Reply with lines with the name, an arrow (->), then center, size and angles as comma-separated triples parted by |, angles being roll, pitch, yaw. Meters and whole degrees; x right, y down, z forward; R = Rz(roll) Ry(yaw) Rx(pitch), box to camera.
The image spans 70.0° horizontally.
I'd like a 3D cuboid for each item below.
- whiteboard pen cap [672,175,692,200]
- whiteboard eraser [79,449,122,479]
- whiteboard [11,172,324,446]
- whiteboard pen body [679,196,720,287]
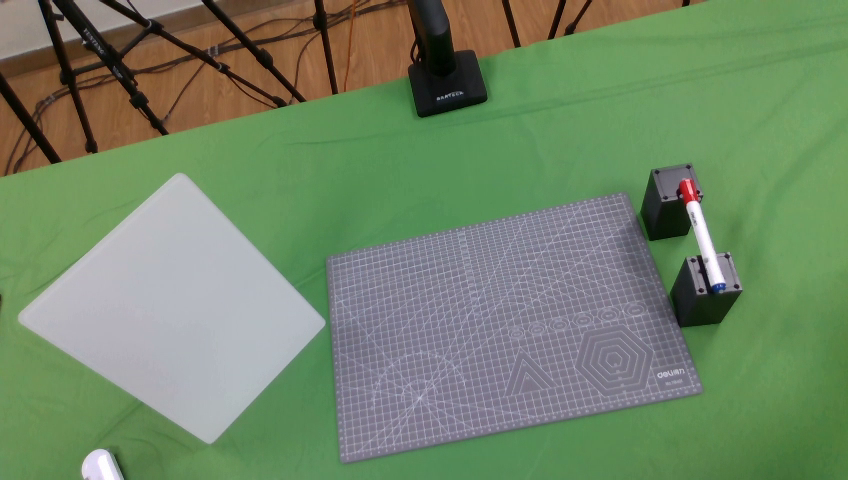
whiteboard pen cap -> 0.315, -0.062, 0.738 | 0.017, 0.017, 0.032 | -6, 61, 7
whiteboard eraser -> -0.411, 0.315, 0.778 | 0.041, 0.019, 0.100 | -37, 62, -11
whiteboard -> -0.314, 0.075, 0.765 | 0.217, 0.309, 0.142 | -47, 44, -15
whiteboard pen body -> 0.319, -0.009, 0.709 | 0.017, 0.017, 0.139 | -8, 60, 6
